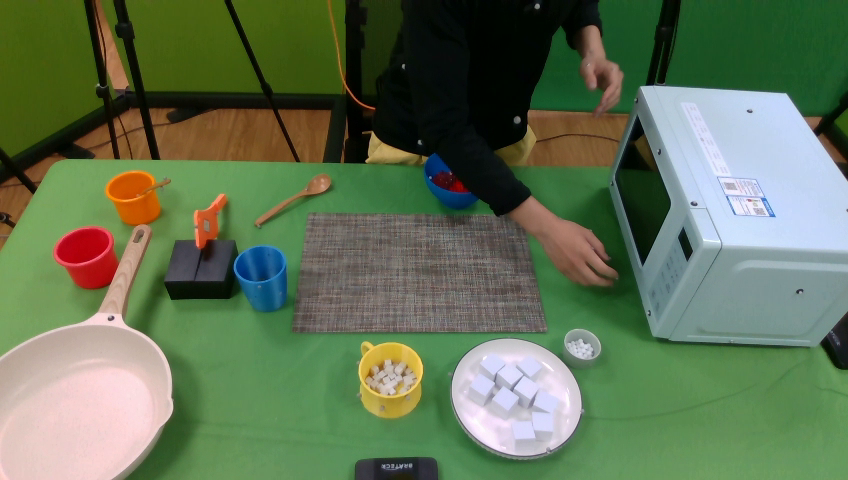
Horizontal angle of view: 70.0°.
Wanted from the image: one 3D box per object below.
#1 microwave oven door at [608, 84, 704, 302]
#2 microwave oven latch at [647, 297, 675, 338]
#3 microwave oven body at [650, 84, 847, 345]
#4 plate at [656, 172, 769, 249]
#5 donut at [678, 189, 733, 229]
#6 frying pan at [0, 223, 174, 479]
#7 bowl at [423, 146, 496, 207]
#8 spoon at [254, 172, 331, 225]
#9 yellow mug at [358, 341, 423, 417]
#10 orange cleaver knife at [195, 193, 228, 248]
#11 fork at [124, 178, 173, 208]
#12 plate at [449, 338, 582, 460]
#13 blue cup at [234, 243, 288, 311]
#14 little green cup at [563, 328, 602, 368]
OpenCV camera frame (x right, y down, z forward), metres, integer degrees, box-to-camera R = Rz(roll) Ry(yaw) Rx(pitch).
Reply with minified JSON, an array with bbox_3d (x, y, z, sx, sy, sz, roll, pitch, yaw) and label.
[{"bbox_3d":[0.424,-0.096,1.138,0.039,0.245,0.353,2,46,-1],"label":"microwave oven door"},{"bbox_3d":[0.413,0.133,1.060,0.030,0.029,0.078,5,46,2],"label":"microwave oven latch"},{"bbox_3d":[0.569,-0.054,1.116,0.326,0.261,0.439,2,46,-1],"label":"microwave oven body"},{"bbox_3d":[0.558,-0.054,1.185,0.209,0.038,0.208,1,44,-1],"label":"plate"},{"bbox_3d":[0.544,-0.062,1.174,0.099,0.048,0.098,1,42,0],"label":"donut"},{"bbox_3d":[-0.505,0.169,0.941,0.307,0.103,0.485,5,54,-1],"label":"frying pan"},{"bbox_3d":[0.073,-0.123,1.278,0.151,0.077,0.150,2,46,-2],"label":"bowl"},{"bbox_3d":[-0.272,-0.087,1.257,0.041,0.022,0.193,46,57,12],"label":"spoon"},{"bbox_3d":[-0.062,0.210,0.961,0.100,0.064,0.130,-29,54,-27],"label":"yellow mug"},{"bbox_3d":[-0.406,-0.041,1.163,0.012,0.077,0.210,0,18,-3],"label":"orange cleaver knife"},{"bbox_3d":[-0.525,-0.090,1.154,0.207,0.019,0.028,-17,27,45],"label":"fork"},{"bbox_3d":[0.141,0.251,0.955,0.208,0.039,0.206,2,46,-2],"label":"plate"},{"bbox_3d":[-0.276,0.072,1.052,0.093,0.101,0.092,1,48,-1],"label":"blue cup"},{"bbox_3d":[0.265,0.184,1.025,0.061,0.039,0.061,2,46,-2],"label":"little green cup"}]
